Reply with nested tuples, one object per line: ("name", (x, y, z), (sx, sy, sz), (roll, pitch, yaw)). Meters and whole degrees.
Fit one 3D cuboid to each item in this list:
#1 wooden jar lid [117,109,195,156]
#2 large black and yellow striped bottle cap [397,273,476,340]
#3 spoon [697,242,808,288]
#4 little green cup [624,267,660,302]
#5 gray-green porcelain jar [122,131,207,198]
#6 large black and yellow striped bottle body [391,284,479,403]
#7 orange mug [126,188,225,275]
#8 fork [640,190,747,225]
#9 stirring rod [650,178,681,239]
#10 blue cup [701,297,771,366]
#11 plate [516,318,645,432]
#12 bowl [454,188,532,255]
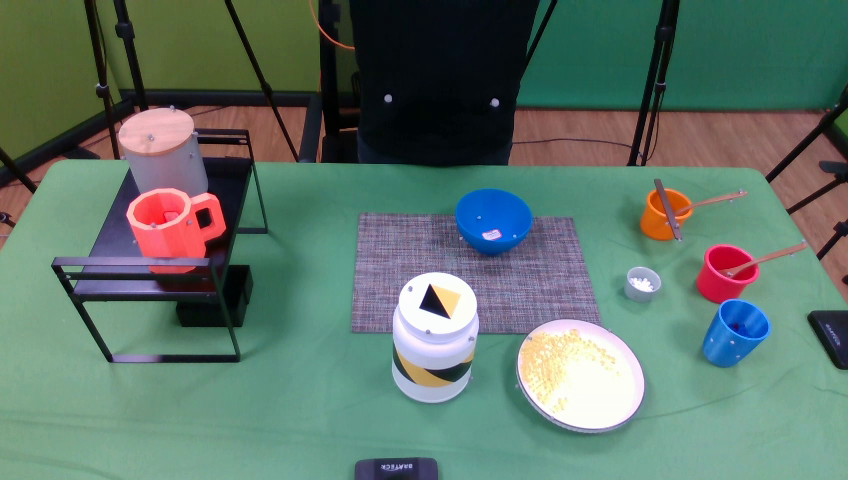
("wooden jar lid", (-0.400, -0.159, 0.910), (0.108, 0.021, 0.107), (2, 47, -2))
("large black and yellow striped bottle cap", (0.018, 0.094, 0.878), (0.115, 0.019, 0.114), (3, 46, -3))
("spoon", (0.602, 0.045, 1.116), (0.194, 0.022, 0.041), (-29, 34, 30))
("little green cup", (0.405, 0.084, 1.135), (0.061, 0.039, 0.061), (3, 45, -3))
("gray-green porcelain jar", (-0.404, -0.116, 0.955), (0.106, 0.127, 0.105), (3, 46, -3))
("large black and yellow striped bottle body", (0.015, 0.153, 0.937), (0.131, 0.185, 0.130), (2, 46, -2))
("orange mug", (-0.357, -0.020, 0.885), (0.126, 0.101, 0.083), (-29, 54, -23))
("fork", (0.533, -0.064, 1.211), (0.207, 0.019, 0.028), (-22, 28, 39))
("stirring rod", (0.479, -0.065, 1.204), (0.014, 0.006, 0.175), (3, 46, -4))
("blue cup", (0.519, 0.162, 1.025), (0.093, 0.101, 0.092), (3, 45, -3))
("plate", (0.253, 0.221, 0.992), (0.209, 0.038, 0.208), (2, 46, -2))
("bowl", (0.131, -0.025, 1.186), (0.151, 0.077, 0.150), (2, 46, -2))
